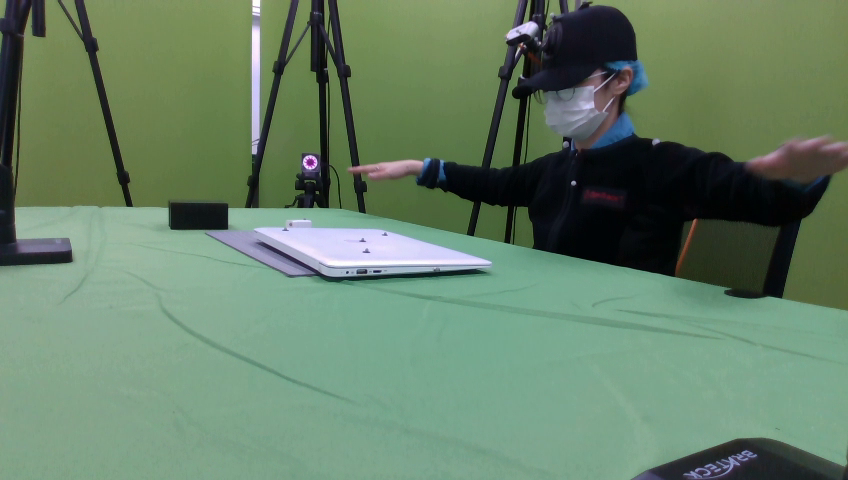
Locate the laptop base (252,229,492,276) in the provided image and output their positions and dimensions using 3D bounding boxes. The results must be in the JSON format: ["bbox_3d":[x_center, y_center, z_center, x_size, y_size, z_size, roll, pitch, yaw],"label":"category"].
[{"bbox_3d":[-0.094,0.015,0.889,0.237,0.023,0.352,2,7,-30],"label":"laptop base"}]

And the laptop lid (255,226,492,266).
[{"bbox_3d":[-0.092,0.003,0.888,0.243,0.013,0.355,1,8,-28],"label":"laptop lid"}]

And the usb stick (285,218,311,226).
[{"bbox_3d":[-0.235,-0.025,1.102,0.021,0.027,0.059,9,12,37],"label":"usb stick"}]
